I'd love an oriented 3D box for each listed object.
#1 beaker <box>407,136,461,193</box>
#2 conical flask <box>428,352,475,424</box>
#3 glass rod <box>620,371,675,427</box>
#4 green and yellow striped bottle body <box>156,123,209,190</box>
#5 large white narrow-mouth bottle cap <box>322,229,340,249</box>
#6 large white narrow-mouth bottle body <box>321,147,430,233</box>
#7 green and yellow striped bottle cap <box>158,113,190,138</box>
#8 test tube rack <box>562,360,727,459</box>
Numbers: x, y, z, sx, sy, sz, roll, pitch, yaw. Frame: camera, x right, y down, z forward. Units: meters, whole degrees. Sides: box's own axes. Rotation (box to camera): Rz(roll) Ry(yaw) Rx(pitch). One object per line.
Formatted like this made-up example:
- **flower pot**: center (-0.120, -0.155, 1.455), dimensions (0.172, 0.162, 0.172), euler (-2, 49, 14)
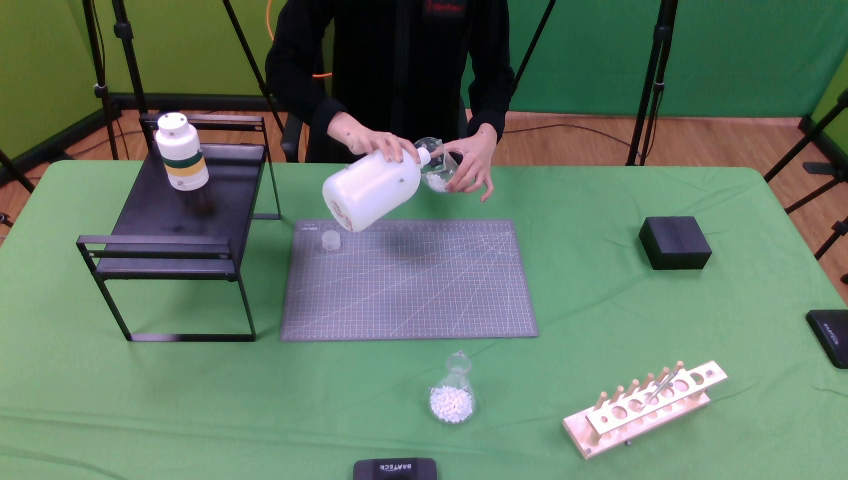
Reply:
- **beaker**: center (0.022, -0.133, 1.112), dimensions (0.083, 0.101, 0.074), euler (37, 89, 28)
- **conical flask**: center (0.046, 0.220, 0.920), dimensions (0.075, 0.122, 0.075), euler (2, 46, -2)
- **glass rod**: center (0.316, 0.230, 0.863), dimensions (0.008, 0.200, 0.008), euler (3, 54, -3)
- **green and yellow striped bottle body**: center (-0.395, -0.145, 0.989), dimensions (0.063, 0.120, 0.063), euler (2, 46, -2)
- **large white narrow-mouth bottle cap**: center (-0.182, -0.003, 1.184), dimensions (0.038, 0.024, 0.037), euler (3, 45, -3)
- **large white narrow-mouth bottle body**: center (-0.071, -0.100, 1.024), dimensions (0.194, 0.102, 0.101), euler (-35, 57, -24)
- **green and yellow striped bottle cap**: center (-0.393, -0.180, 0.951), dimensions (0.045, 0.020, 0.045), euler (2, 44, -2)
- **test tube rack**: center (0.341, 0.247, 0.940), dimensions (0.243, 0.085, 0.066), euler (-16, 49, -18)
